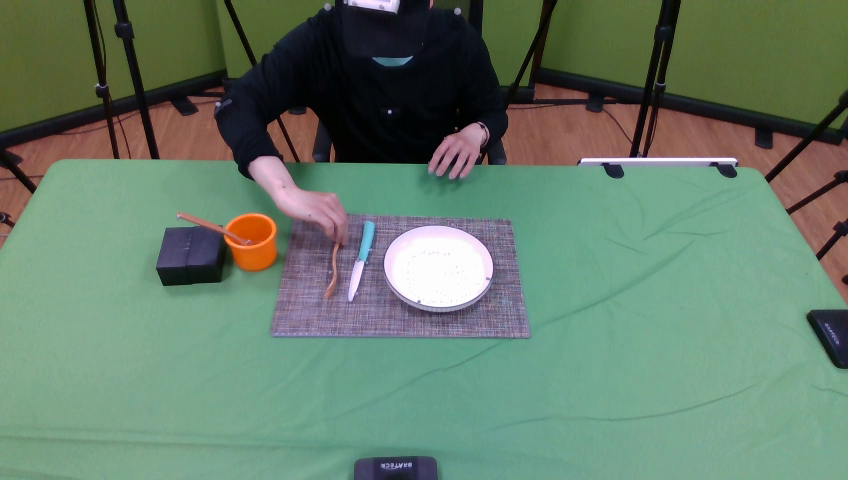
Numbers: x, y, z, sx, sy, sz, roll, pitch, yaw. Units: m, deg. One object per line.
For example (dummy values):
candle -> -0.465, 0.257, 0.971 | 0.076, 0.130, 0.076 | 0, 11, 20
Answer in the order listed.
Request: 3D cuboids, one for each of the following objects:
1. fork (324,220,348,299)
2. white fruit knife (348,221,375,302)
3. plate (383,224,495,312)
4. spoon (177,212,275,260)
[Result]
fork -> -0.165, 0.031, 1.148 | 0.018, 0.028, 0.206 | 8, 43, -5
white fruit knife -> -0.119, 0.037, 1.153 | 0.027, 0.016, 0.206 | -15, 43, 24
plate -> 0.027, 0.055, 1.128 | 0.209, 0.038, 0.208 | 2, 46, -2
spoon -> -0.353, -0.009, 1.092 | 0.021, 0.195, 0.041 | -36, 43, 24
